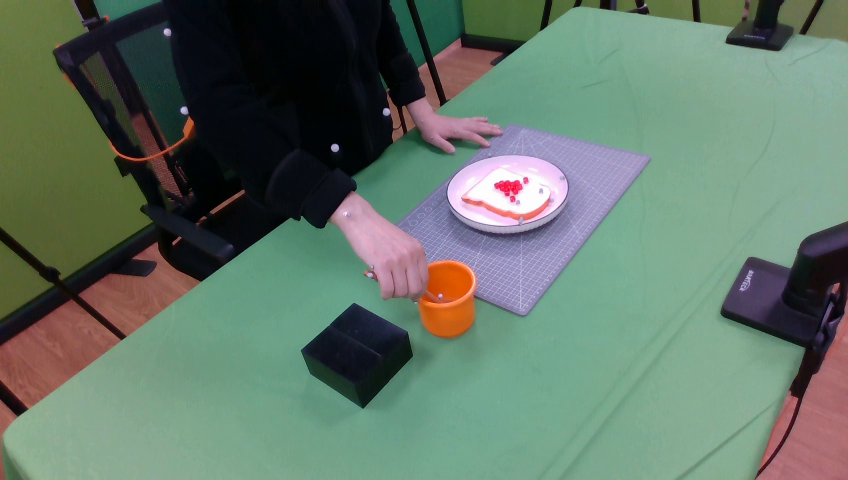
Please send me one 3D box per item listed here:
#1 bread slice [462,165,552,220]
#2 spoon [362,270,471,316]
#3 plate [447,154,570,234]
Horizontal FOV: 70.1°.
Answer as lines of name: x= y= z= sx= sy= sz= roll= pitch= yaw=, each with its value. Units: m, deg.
bread slice: x=0.150 y=-0.079 z=1.036 sx=0.133 sy=0.018 sz=0.107 roll=22 pitch=50 yaw=31
spoon: x=-0.006 y=0.067 z=0.786 sx=0.021 sy=0.195 sz=0.041 roll=-57 pitch=42 yaw=5
plate: x=0.143 y=-0.076 z=1.032 sx=0.209 sy=0.038 sz=0.208 roll=-5 pitch=40 yaw=5
